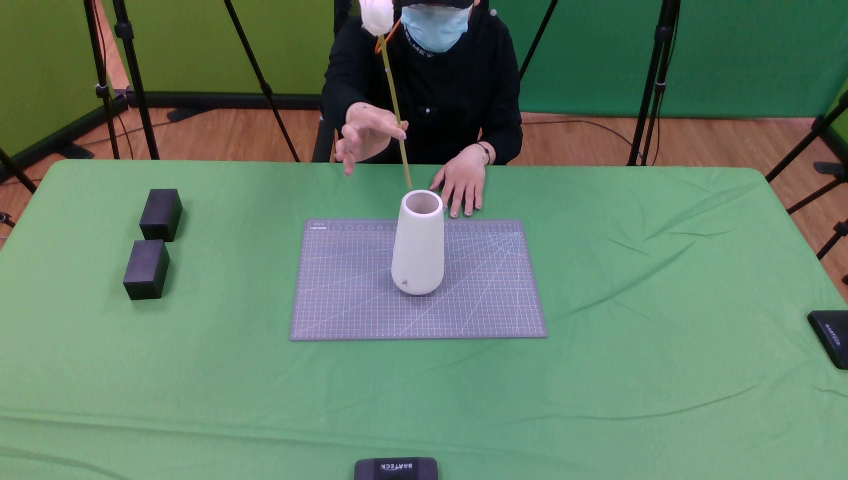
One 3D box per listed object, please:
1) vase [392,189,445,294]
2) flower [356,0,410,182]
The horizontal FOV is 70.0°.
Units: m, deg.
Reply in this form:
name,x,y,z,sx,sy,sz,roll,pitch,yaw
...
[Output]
name,x,y,z,sx,sy,sz,roll,pitch,yaw
vase,-0.007,0.006,1.060,0.098,0.201,0.097,2,48,-2
flower,-0.042,-0.185,0.815,0.038,0.363,0.044,-10,60,0
